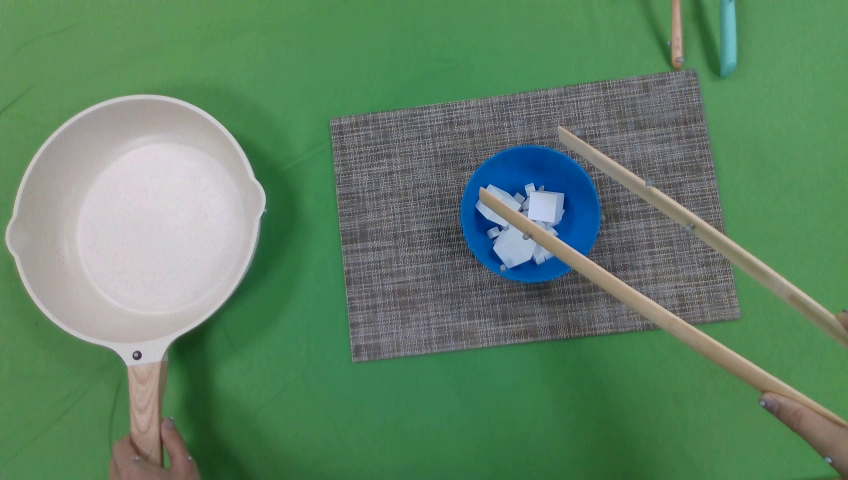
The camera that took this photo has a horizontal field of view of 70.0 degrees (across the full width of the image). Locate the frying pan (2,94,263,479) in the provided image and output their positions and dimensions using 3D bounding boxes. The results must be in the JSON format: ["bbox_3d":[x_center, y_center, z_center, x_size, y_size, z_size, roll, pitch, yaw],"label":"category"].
[{"bbox_3d":[-0.318,0.076,0.690,0.307,0.103,0.485,-8,74,4],"label":"frying pan"}]

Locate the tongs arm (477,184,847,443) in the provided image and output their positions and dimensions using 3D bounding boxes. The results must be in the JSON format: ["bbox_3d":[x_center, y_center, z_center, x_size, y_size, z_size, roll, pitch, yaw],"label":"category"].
[{"bbox_3d":[0.186,0.047,0.496,0.028,0.028,0.384,-42,56,-19],"label":"tongs arm"}]

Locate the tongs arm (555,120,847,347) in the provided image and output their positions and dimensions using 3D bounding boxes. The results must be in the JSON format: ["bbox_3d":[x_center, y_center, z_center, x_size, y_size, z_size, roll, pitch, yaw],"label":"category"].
[{"bbox_3d":[0.233,0.009,0.508,0.051,0.027,0.380,-38,56,-12],"label":"tongs arm"}]

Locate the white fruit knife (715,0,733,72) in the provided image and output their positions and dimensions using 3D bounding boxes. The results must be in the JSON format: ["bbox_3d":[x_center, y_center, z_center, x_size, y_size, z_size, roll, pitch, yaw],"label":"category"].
[{"bbox_3d":[0.345,-0.303,0.704,0.016,0.027,0.207,-7,97,-2],"label":"white fruit knife"}]

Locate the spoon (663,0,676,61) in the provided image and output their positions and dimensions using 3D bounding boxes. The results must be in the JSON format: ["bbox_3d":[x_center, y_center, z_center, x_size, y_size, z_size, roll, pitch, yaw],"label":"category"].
[{"bbox_3d":[0.288,-0.310,0.703,0.041,0.022,0.194,6,105,27],"label":"spoon"}]

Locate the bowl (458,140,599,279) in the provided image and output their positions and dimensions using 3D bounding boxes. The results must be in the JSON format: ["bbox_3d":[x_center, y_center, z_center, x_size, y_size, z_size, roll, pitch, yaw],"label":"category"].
[{"bbox_3d":[0.114,-0.028,0.683,0.151,0.077,0.151,0,82,4],"label":"bowl"}]
